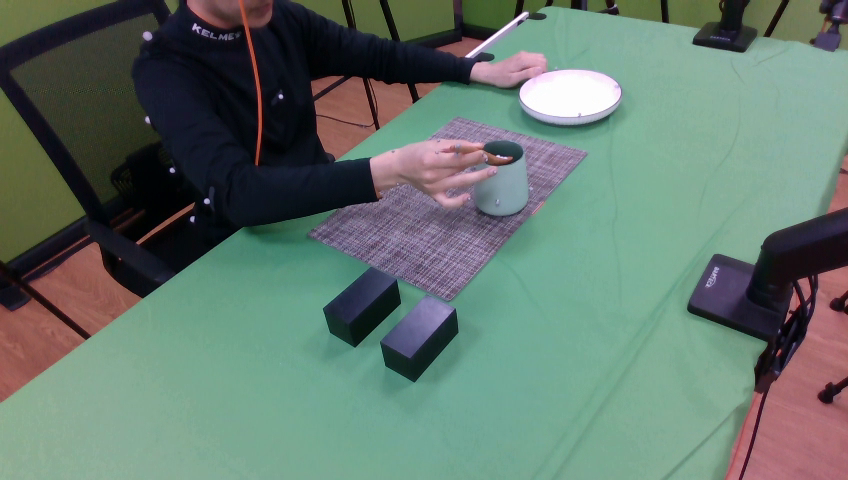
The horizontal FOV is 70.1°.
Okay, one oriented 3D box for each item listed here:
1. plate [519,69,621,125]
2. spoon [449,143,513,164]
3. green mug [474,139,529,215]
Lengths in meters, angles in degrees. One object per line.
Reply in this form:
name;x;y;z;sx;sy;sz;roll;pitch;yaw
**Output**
plate;0.300;-0.293;1.253;0.209;0.038;0.208;-4;41;4
spoon;0.084;-0.130;0.905;0.041;0.021;0.195;-4;-5;31
green mug;0.126;-0.113;1.013;0.092;0.105;0.124;-8;41;0
